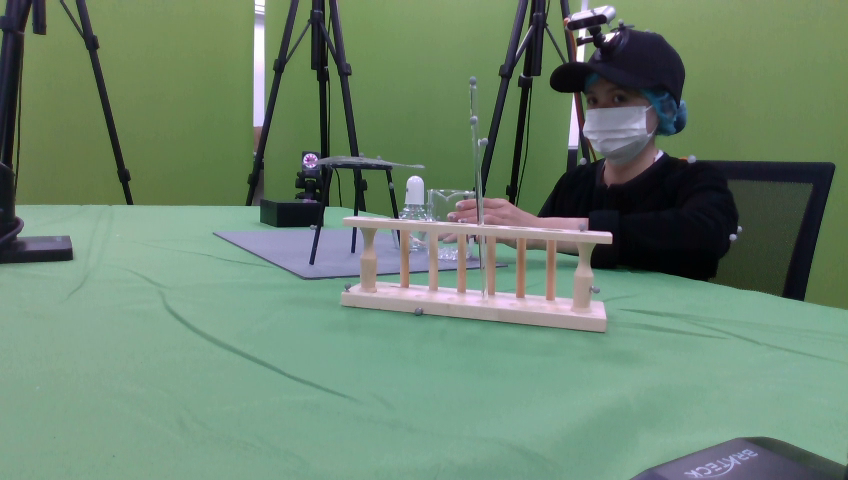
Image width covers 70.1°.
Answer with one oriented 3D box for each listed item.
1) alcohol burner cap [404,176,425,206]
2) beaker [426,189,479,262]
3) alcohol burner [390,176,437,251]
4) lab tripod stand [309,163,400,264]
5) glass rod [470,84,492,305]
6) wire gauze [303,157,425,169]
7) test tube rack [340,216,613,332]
[{"bbox_3d":[-0.015,-0.077,0.951,0.034,0.048,0.034,2,4,0],"label":"alcohol burner cap"},{"bbox_3d":[0.039,-0.022,0.872,0.074,0.100,0.084,4,8,12],"label":"beaker"},{"bbox_3d":[-0.016,-0.042,0.955,0.078,0.119,0.078,4,6,0],"label":"alcohol burner"},{"bbox_3d":[-0.091,-0.037,0.813,0.148,0.131,0.148,1,6,0],"label":"lab tripod stand"},{"bbox_3d":[0.051,-0.036,0.535,0.008,0.199,0.008,-5,10,1],"label":"glass rod"},{"bbox_3d":[-0.082,-0.102,0.799,0.126,0.011,0.121,-1,7,-30],"label":"wire gauze"},{"bbox_3d":[0.048,0.026,0.568,0.242,0.085,0.067,4,7,13],"label":"test tube rack"}]
